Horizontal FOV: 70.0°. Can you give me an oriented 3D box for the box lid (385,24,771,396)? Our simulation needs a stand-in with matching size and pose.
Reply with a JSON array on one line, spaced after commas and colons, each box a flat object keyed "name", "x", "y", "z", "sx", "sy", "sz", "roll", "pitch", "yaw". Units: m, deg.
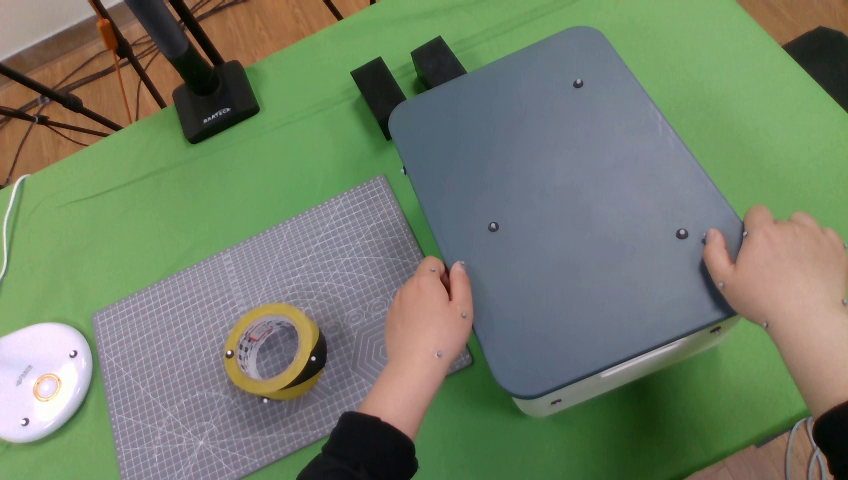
[{"name": "box lid", "x": 0.128, "y": -0.056, "z": 0.607, "sx": 0.263, "sy": 0.015, "sz": 0.367, "roll": -24, "pitch": 61, "yaw": 1}]

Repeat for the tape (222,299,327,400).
[{"name": "tape", "x": -0.182, "y": 0.133, "z": 0.740, "sx": 0.116, "sy": 0.053, "sz": 0.116, "roll": -4, "pitch": 65, "yaw": 10}]

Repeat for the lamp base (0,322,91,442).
[{"name": "lamp base", "x": -0.545, "y": 0.153, "z": 0.741, "sx": 0.178, "sy": 0.182, "sz": 0.159, "roll": 9, "pitch": 69, "yaw": 19}]

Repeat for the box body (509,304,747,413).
[{"name": "box body", "x": 0.144, "y": -0.021, "z": 0.671, "sx": 0.254, "sy": 0.162, "sz": 0.360, "roll": -24, "pitch": 61, "yaw": 1}]
